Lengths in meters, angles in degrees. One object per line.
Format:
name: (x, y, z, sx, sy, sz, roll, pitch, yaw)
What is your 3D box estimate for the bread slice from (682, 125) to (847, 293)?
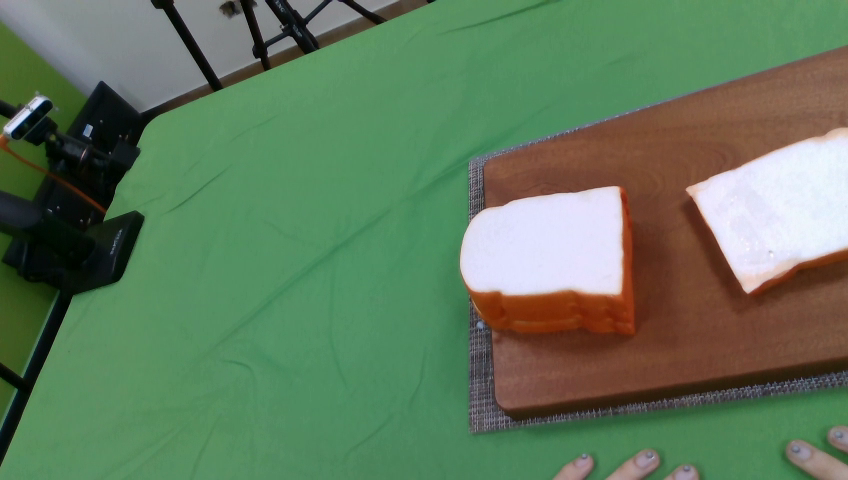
bread slice: (0.269, -0.026, 0.433, 0.131, 0.019, 0.104, -25, 46, 19)

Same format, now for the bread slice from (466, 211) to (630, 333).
bread slice: (0.100, 0.025, 0.498, 0.134, 0.018, 0.106, -3, 54, 24)
